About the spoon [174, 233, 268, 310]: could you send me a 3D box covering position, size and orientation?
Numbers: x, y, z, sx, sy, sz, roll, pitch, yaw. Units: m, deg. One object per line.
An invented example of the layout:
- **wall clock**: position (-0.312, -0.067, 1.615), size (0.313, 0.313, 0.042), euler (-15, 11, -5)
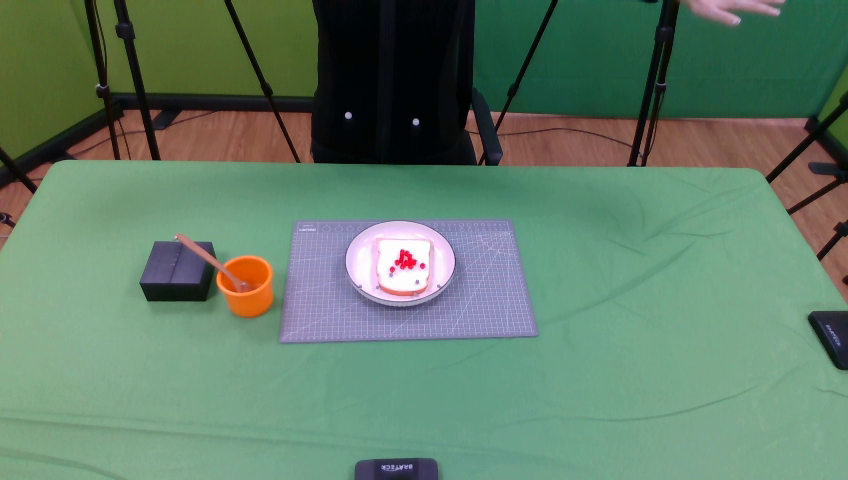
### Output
- **spoon**: position (-0.344, 0.052, 1.033), size (0.021, 0.194, 0.041), euler (-19, 32, 42)

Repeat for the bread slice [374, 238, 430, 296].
- **bread slice**: position (-0.039, 0.048, 1.135), size (0.107, 0.018, 0.133), euler (-1, 47, -4)

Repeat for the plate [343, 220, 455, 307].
- **plate**: position (-0.047, 0.046, 1.135), size (0.209, 0.038, 0.208), euler (2, 46, -2)
